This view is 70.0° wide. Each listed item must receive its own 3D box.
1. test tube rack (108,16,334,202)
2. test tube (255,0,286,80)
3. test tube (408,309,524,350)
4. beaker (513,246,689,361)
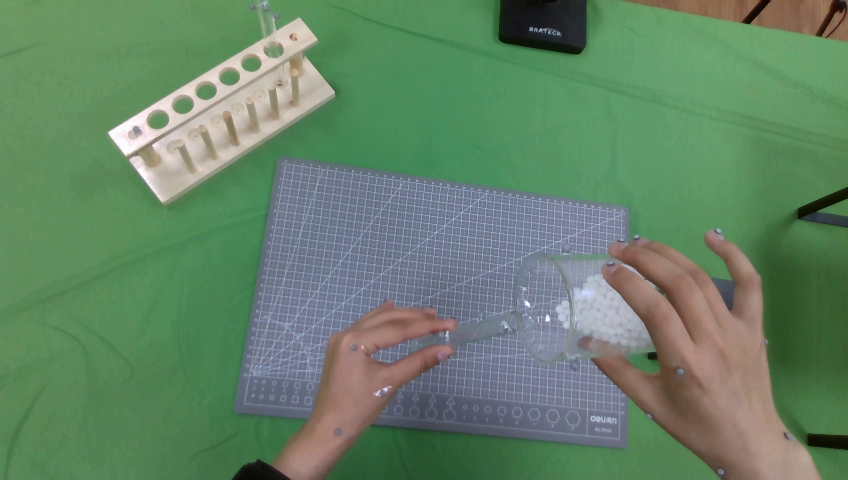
[{"bbox_3d":[-0.219,-0.149,0.692,0.242,0.085,0.066,-37,84,-16],"label":"test tube rack"},{"bbox_3d":[-0.168,-0.222,0.667,0.017,0.151,0.017,2,73,-6],"label":"test tube"},{"bbox_3d":[0.028,0.076,0.496,0.017,0.150,0.017,10,70,-30],"label":"test tube"},{"bbox_3d":[0.121,0.043,0.419,0.101,0.084,0.073,-1,70,-21],"label":"beaker"}]
